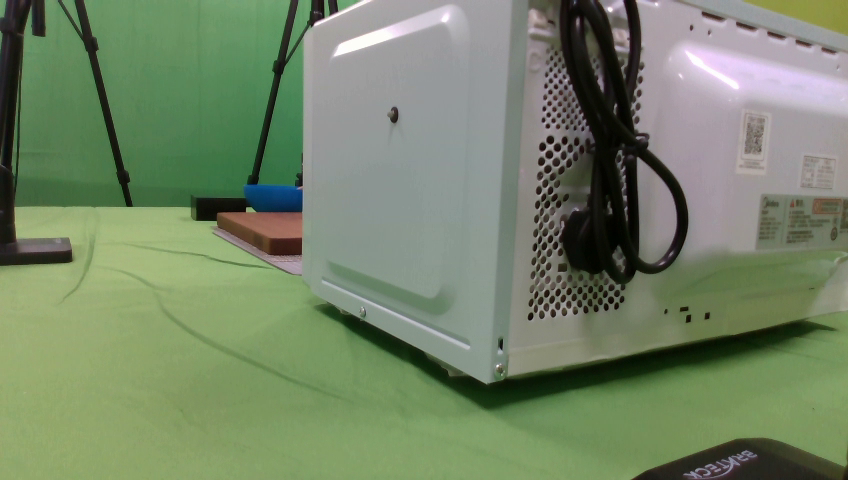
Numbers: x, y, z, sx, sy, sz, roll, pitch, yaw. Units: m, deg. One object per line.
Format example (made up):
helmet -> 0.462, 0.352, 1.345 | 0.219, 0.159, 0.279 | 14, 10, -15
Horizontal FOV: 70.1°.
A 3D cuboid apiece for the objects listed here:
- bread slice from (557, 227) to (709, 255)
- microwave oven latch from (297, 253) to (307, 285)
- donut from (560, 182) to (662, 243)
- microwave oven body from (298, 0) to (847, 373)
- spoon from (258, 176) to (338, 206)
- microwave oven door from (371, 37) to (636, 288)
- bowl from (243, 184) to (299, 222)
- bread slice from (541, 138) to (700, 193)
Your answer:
bread slice -> 0.205, 0.000, 0.581 | 0.105, 0.019, 0.131 | 4, 1, -16
microwave oven latch -> -0.082, 0.027, 0.583 | 0.079, 0.029, 0.030 | -1, 7, -33
donut -> 0.185, -0.029, 0.605 | 0.099, 0.048, 0.099 | 11, -10, 2
microwave oven body -> 0.151, -0.055, 0.543 | 0.444, 0.260, 0.324 | -1, 7, -33
spoon -> -0.279, -0.112, 1.356 | 0.194, 0.021, 0.041 | -28, 18, -27
microwave oven door -> 0.109, -0.080, 0.686 | 0.358, 0.243, 0.039 | -2, 9, -33
bowl -> -0.321, -0.081, 1.334 | 0.151, 0.077, 0.151 | 3, 7, 0
bread slice -> 0.196, -0.074, 0.590 | 0.107, 0.018, 0.133 | -2, 21, -40
